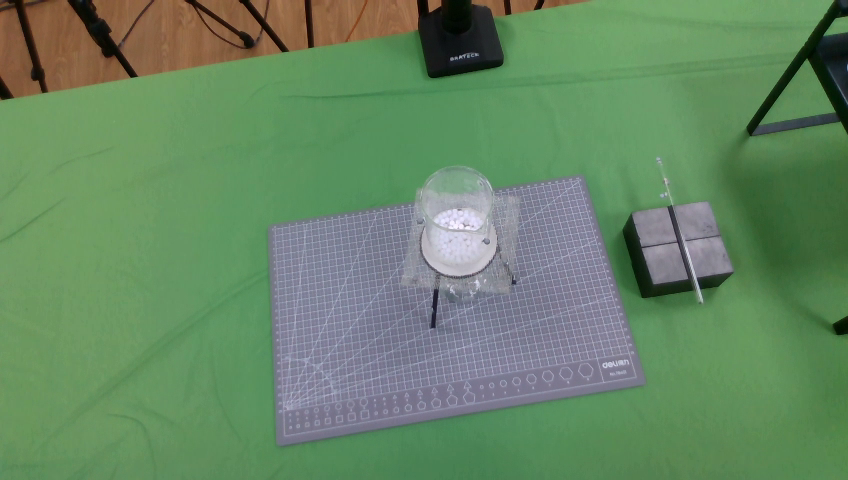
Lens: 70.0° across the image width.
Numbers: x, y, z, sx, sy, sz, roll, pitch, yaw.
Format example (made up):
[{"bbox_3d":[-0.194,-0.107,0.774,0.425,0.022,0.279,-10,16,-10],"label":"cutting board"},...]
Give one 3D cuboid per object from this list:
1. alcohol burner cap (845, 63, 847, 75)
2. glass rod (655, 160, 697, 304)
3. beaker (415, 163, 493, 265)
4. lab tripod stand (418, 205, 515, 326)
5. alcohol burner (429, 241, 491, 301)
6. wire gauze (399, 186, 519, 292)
[{"bbox_3d":[0.496,-0.202,0.670,0.034,0.048,0.033,-1,65,2],"label":"alcohol burner cap"},{"bbox_3d":[0.315,-0.014,0.760,0.008,0.008,0.198,-5,67,1],"label":"glass rod"},{"bbox_3d":[0.035,-0.021,0.633,0.074,0.101,0.083,-35,68,-11],"label":"beaker"},{"bbox_3d":[0.039,0.024,0.739,0.148,0.132,0.147,-2,65,5],"label":"lab tripod stand"},{"bbox_3d":[0.044,0.031,0.746,0.078,0.120,0.077,-2,67,5],"label":"alcohol burner"},{"bbox_3d":[0.041,-0.003,0.678,0.121,0.011,0.124,7,64,5],"label":"wire gauze"}]
